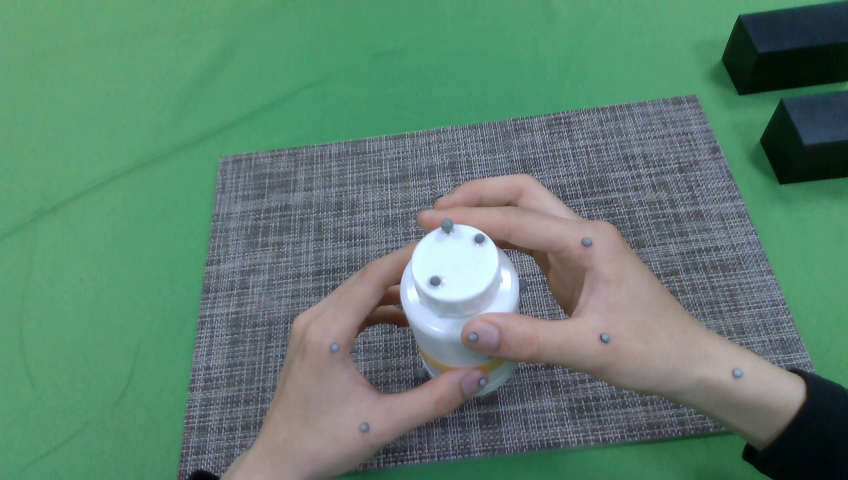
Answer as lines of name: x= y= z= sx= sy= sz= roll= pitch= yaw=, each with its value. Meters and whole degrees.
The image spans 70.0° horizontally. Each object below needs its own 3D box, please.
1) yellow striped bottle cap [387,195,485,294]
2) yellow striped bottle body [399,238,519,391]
yellow striped bottle cap: x=0.006 y=0.002 z=0.280 sx=0.044 sy=0.019 sz=0.044 roll=-5 pitch=65 yaw=11
yellow striped bottle body: x=0.020 y=0.039 z=0.341 sx=0.063 sy=0.121 sz=0.062 roll=-2 pitch=61 yaw=4
